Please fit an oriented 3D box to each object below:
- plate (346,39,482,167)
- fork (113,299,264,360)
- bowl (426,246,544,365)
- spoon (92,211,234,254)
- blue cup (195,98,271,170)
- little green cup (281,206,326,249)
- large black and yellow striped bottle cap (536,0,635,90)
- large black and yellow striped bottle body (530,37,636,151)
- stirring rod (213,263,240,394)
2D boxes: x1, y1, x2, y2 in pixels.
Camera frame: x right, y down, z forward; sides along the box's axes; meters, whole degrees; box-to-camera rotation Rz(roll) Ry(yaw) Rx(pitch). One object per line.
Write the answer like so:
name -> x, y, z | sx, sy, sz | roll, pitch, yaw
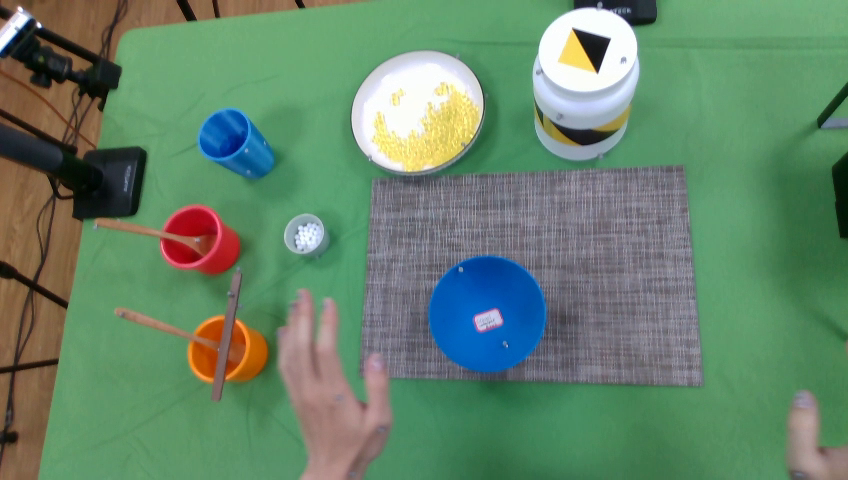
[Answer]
plate -> -0.014, -0.204, 0.922 | 0.209, 0.038, 0.208 | -3, 75, 10
fork -> -0.319, 0.123, 0.831 | 0.209, 0.018, 0.028 | 27, 81, -27
bowl -> 0.083, 0.091, 0.795 | 0.151, 0.077, 0.150 | -3, 75, 11
spoon -> -0.376, -0.017, 0.885 | 0.195, 0.021, 0.041 | 16, 76, -30
blue cup -> -0.284, -0.153, 0.926 | 0.092, 0.101, 0.092 | -3, 74, 12
little green cup -> -0.176, -0.015, 0.900 | 0.061, 0.039, 0.061 | -3, 74, 11
large black and yellow striped bottle cap -> 0.191, -0.234, 0.723 | 0.115, 0.019, 0.114 | -3, 74, 12
large black and yellow striped bottle body -> 0.207, -0.212, 0.803 | 0.130, 0.185, 0.130 | -3, 74, 11
stirring rod -> -0.266, 0.118, 0.819 | 0.014, 0.006, 0.175 | 0, 75, 13
